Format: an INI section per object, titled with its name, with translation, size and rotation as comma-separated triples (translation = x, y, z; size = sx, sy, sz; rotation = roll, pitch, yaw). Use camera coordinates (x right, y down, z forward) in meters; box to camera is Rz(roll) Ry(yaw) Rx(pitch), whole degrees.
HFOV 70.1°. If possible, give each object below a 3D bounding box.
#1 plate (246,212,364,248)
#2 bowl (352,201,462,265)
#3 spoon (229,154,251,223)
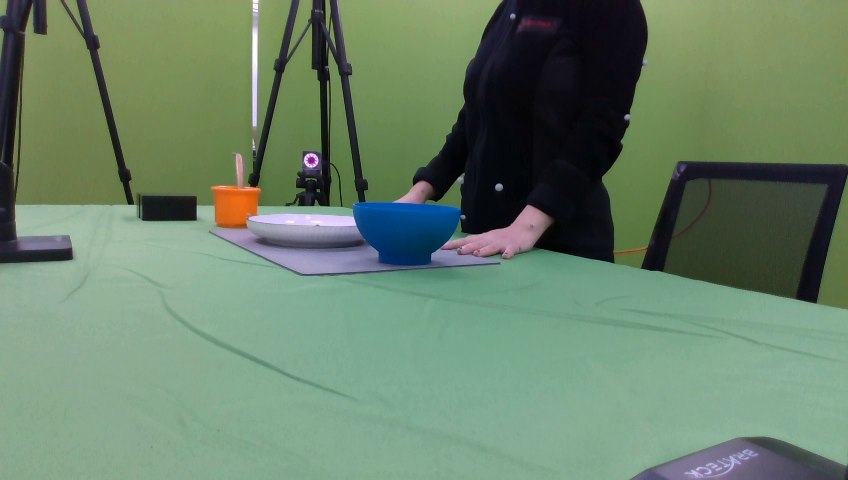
[plate]
translation = -0.184, -0.017, 0.995
size = 0.209, 0.038, 0.209
rotation = 3, 8, 0
[bowl]
translation = -0.024, -0.009, 0.831
size = 0.151, 0.077, 0.151
rotation = 3, 7, 0
[spoon]
translation = -0.367, -0.106, 1.208
size = 0.042, 0.193, 0.021
rotation = 2, -37, -20
